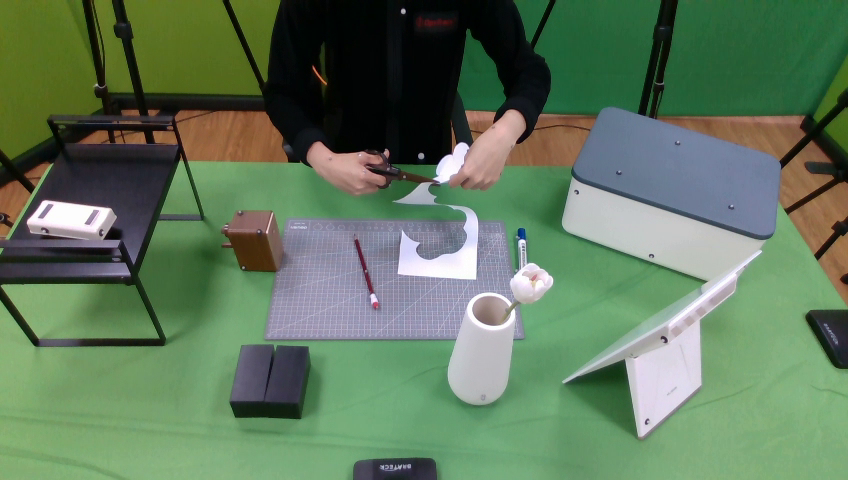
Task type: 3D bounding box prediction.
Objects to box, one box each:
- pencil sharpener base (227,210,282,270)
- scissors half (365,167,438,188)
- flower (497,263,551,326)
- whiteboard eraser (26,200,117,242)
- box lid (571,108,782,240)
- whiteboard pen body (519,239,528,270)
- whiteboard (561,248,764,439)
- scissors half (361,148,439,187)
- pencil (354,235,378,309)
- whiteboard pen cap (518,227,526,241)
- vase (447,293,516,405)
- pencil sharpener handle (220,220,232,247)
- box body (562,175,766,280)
[{"bbox_3d":[-0.311,0.001,1.112,0.077,0.107,0.061,1,47,1],"label":"pencil sharpener base"},{"bbox_3d":[-0.042,-0.111,1.106,0.174,0.040,0.013,8,37,40],"label":"scissors half"},{"bbox_3d":[0.102,0.121,0.853,0.044,0.363,0.038,-2,64,-10],"label":"flower"},{"bbox_3d":[-0.532,-0.026,0.919,0.113,0.042,0.055,7,45,3],"label":"whiteboard eraser"},{"bbox_3d":[0.491,-0.139,1.168,0.370,0.015,0.262,21,49,15],"label":"box lid"},{"bbox_3d":[0.193,0.035,1.181,0.017,0.017,0.140,6,48,1],"label":"whiteboard pen body"},{"bbox_3d":[0.386,0.176,0.905,0.217,0.306,0.143,-26,72,-27],"label":"whiteboard"},{"bbox_3d":[-0.045,-0.128,1.094,0.174,0.040,0.013,27,52,25],"label":"scissors half"},{"bbox_3d":[-0.112,0.055,1.143,0.012,0.012,0.192,-9,46,-13],"label":"pencil"},{"bbox_3d":[0.197,-0.009,1.220,0.018,0.018,0.033,5,51,1],"label":"whiteboard pen cap"},{"bbox_3d":[0.091,0.169,0.921,0.098,0.201,0.097,3,47,-3],"label":"vase"},{"bbox_3d":[-0.362,-0.009,1.105,0.030,0.068,0.036,1,52,1],"label":"pencil sharpener handle"},{"bbox_3d":[0.486,-0.088,1.222,0.363,0.161,0.253,20,48,15],"label":"box body"}]
